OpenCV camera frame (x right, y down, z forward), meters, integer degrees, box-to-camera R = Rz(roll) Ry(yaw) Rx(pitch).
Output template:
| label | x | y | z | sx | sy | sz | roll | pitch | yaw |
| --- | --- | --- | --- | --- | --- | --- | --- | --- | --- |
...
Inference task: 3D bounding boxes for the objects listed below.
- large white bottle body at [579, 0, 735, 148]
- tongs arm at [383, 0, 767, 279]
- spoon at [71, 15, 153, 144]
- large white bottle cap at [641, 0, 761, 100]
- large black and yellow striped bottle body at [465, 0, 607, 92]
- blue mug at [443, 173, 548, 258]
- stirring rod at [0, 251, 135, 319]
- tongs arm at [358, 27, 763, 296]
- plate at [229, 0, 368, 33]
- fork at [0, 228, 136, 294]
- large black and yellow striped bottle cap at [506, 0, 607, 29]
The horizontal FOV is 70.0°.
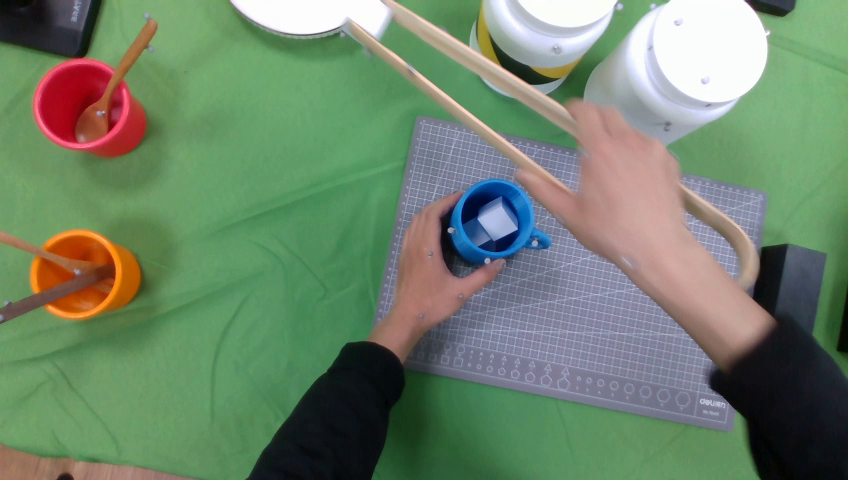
| label | x | y | z | sx | sy | sz | roll | pitch | yaw |
| --- | --- | --- | --- | --- | --- | --- | --- | --- | --- |
| large white bottle body | 0.260 | -0.184 | 0.667 | 0.131 | 0.184 | 0.130 | 0 | 85 | -4 |
| tongs arm | 0.116 | -0.094 | 0.509 | 0.386 | 0.028 | 0.028 | 37 | 74 | 10 |
| spoon | -0.329 | -0.165 | 0.635 | 0.194 | 0.021 | 0.041 | -36 | 84 | 37 |
| large white bottle cap | 0.266 | -0.193 | 0.583 | 0.115 | 0.018 | 0.114 | 1 | 85 | -5 |
| large black and yellow striped bottle body | 0.120 | -0.250 | 0.660 | 0.131 | 0.184 | 0.130 | 0 | 85 | -4 |
| blue mug | 0.082 | -0.019 | 0.676 | 0.117 | 0.106 | 0.082 | 19 | 83 | -3 |
| stirring rod | -0.378 | 0.050 | 0.617 | 0.176 | 0.006 | 0.014 | -33 | 92 | -49 |
| tongs arm | 0.101 | -0.075 | 0.504 | 0.383 | 0.026 | 0.050 | 41 | 79 | 11 |
| plate | -0.149 | -0.342 | 0.717 | 0.208 | 0.039 | 0.207 | 0 | 86 | -5 |
| fork | -0.393 | 0.008 | 0.613 | 0.209 | 0.018 | 0.028 | 36 | 79 | -44 |
| large black and yellow striped bottle cap | 0.126 | -0.260 | 0.577 | 0.115 | 0.019 | 0.115 | 0 | 87 | -6 |
